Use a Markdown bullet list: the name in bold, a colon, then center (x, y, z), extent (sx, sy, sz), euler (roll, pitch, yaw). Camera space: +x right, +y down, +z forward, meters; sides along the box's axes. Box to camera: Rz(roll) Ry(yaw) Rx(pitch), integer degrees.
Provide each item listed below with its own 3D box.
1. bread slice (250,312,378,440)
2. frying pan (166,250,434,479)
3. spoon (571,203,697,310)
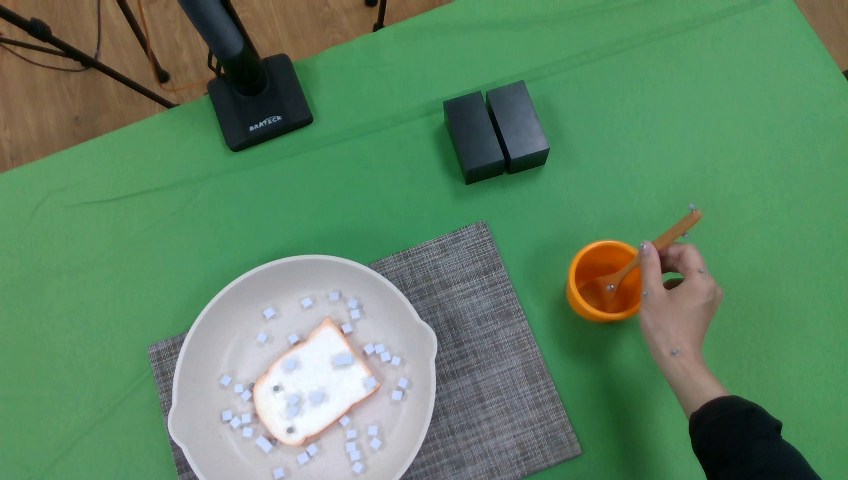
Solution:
- **bread slice**: center (-0.135, 0.169, 0.718), extent (0.134, 0.018, 0.106), euler (-41, 77, -10)
- **frying pan**: center (-0.104, 0.248, 0.653), extent (0.307, 0.103, 0.483), euler (-18, 66, -1)
- **spoon**: center (0.226, 0.022, 0.665), extent (0.022, 0.194, 0.041), euler (-11, 63, -33)
